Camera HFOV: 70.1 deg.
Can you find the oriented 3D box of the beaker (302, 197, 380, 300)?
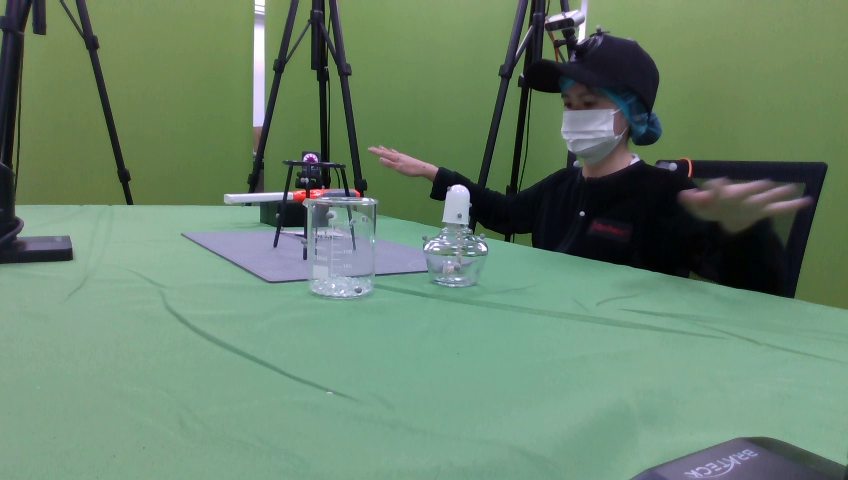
[{"bbox_3d":[-0.089,0.007,0.625,0.084,0.100,0.074,4,7,16],"label":"beaker"}]

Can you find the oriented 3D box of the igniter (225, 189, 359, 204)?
[{"bbox_3d":[-0.264,-0.089,1.239,0.278,0.025,0.057,-5,12,-32],"label":"igniter"}]

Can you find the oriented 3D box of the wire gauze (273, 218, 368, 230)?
[{"bbox_3d":[-0.186,-0.028,1.088,0.124,0.011,0.122,0,7,36],"label":"wire gauze"}]

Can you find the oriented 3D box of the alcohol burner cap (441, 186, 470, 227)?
[{"bbox_3d":[0.038,-0.039,0.700,0.034,0.048,0.034,6,4,0],"label":"alcohol burner cap"}]

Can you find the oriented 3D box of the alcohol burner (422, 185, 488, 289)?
[{"bbox_3d":[0.036,-0.004,0.705,0.078,0.119,0.078,0,7,0],"label":"alcohol burner"}]

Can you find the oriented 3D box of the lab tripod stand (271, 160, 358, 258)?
[{"bbox_3d":[-0.159,-0.048,0.876,0.148,0.131,0.148,3,5,0],"label":"lab tripod stand"}]
